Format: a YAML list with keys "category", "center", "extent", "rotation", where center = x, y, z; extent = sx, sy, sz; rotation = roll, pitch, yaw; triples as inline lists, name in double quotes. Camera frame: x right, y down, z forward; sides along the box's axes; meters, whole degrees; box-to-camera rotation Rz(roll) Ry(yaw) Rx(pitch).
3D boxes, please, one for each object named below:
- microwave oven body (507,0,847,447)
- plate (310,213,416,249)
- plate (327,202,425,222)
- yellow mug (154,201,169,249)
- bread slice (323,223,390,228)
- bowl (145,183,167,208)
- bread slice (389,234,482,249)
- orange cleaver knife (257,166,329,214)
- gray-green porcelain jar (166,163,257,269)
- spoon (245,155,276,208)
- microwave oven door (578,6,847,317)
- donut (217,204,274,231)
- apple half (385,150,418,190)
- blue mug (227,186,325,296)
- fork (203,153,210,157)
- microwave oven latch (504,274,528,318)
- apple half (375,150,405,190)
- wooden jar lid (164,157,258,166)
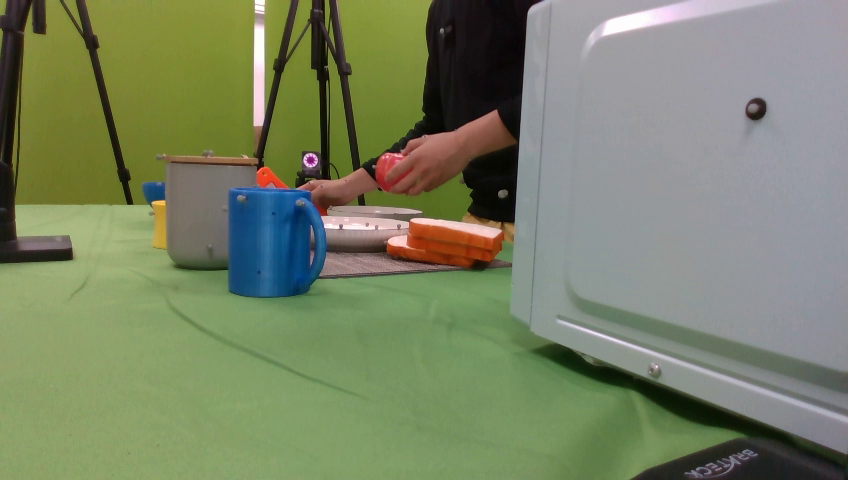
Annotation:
- category: "microwave oven body"
  center: [0.331, -0.042, 0.425]
  extent: [0.444, 0.260, 0.324]
  rotation: [-2, 8, -31]
- category: "plate"
  center: [-0.116, -0.014, 0.967]
  extent: [0.208, 0.039, 0.207]
  rotation: [2, 8, 0]
- category: "plate"
  center: [-0.102, -0.053, 1.299]
  extent: [0.209, 0.038, 0.209]
  rotation: [2, 9, 0]
- category: "yellow mug"
  center: [-0.337, -0.022, 0.899]
  extent: [0.130, 0.064, 0.100]
  rotation: [8, 9, 34]
- category: "bread slice"
  center: [-0.116, -0.013, 0.975]
  extent: [0.135, 0.018, 0.106]
  rotation: [-7, 12, -42]
- category: "bowl"
  center: [-0.459, -0.068, 1.175]
  extent: [0.151, 0.077, 0.151]
  rotation: [3, 7, 0]
- category: "bread slice"
  center: [0.016, 0.002, 0.872]
  extent: [0.131, 0.019, 0.105]
  rotation: [1, 1, 3]
- category: "orange cleaver knife"
  center: [-0.293, -0.086, 1.330]
  extent: [0.212, 0.077, 0.012]
  rotation: [33, -12, -38]
- category: "gray-green porcelain jar"
  center: [-0.263, -0.032, 0.754]
  extent: [0.106, 0.126, 0.106]
  rotation: [2, 7, 0]
- category: "spoon"
  center: [-0.421, -0.150, 1.540]
  extent: [0.042, 0.021, 0.193]
  rotation: [-5, 55, -37]
- category: "microwave oven door"
  center: [0.294, -0.067, 0.570]
  extent: [0.358, 0.243, 0.039]
  rotation: [-3, 9, -31]
- category: "donut"
  center: [-0.318, -0.038, 1.080]
  extent: [0.099, 0.048, 0.099]
  rotation: [3, 7, 0]
- category: "apple half"
  center: [-0.034, -0.127, 1.106]
  extent: [0.082, 0.081, 0.032]
  rotation: [-6, 16, -45]
- category: "blue mug"
  center: [-0.146, 0.000, 0.618]
  extent: [0.116, 0.106, 0.083]
  rotation: [7, 9, 32]
- category: "fork"
  center: [-0.480, -0.136, 1.411]
  extent: [0.028, 0.018, 0.207]
  rotation: [1, -34, -1]
- category: "microwave oven latch"
  center: [0.100, 0.041, 0.471]
  extent: [0.079, 0.029, 0.030]
  rotation: [-1, 8, -28]
- category: "apple half"
  center: [-0.061, -0.133, 1.132]
  extent: [0.053, 0.074, 0.081]
  rotation: [11, 17, 44]
- category: "wooden jar lid"
  center: [-0.261, -0.093, 0.746]
  extent: [0.108, 0.020, 0.108]
  rotation: [1, 9, 0]
